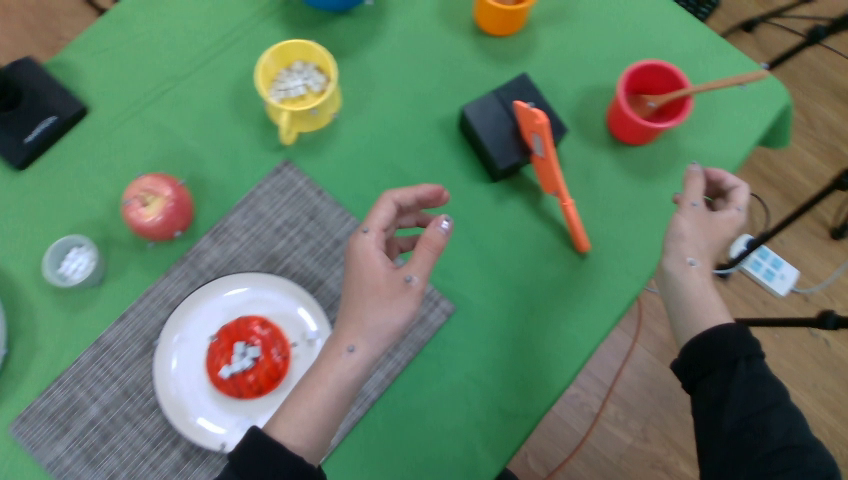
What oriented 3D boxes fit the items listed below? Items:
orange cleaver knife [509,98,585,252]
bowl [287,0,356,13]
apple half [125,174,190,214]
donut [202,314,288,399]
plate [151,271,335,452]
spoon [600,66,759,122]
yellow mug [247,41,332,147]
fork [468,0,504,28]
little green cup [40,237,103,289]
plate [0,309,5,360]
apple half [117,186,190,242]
[{"bbox_3d":[0.155,-0.081,0.770,0.012,0.076,0.213,-29,111,-8],"label":"orange cleaver knife"},{"bbox_3d":[-0.139,-0.368,0.831,0.151,0.077,0.150,1,76,-3],"label":"bowl"},{"bbox_3d":[-0.320,-0.060,0.744,0.081,0.081,0.032,20,79,3],"label":"apple half"},{"bbox_3d":[-0.207,0.136,0.704,0.099,0.048,0.098,1,78,-3],"label":"donut"},{"bbox_3d":[-0.209,0.141,0.714,0.209,0.038,0.208,1,76,-3],"label":"plate"},{"bbox_3d":[0.322,-0.190,0.778,0.193,0.022,0.041,-11,69,40],"label":"spoon"},{"bbox_3d":[-0.176,-0.184,0.788,0.100,0.064,0.130,10,76,-1],"label":"yellow mug"},{"bbox_3d":[0.132,-0.370,0.810,0.028,0.018,0.208,50,122,11],"label":"fork"},{"bbox_3d":[-0.424,0.031,0.734,0.061,0.039,0.061,1,76,-3],"label":"little green cup"},{"bbox_3d":[-0.590,0.126,0.700,0.208,0.039,0.206,1,76,-3],"label":"plate"},{"bbox_3d":[-0.333,-0.025,0.736,0.081,0.075,0.053,21,80,-1],"label":"apple half"}]
